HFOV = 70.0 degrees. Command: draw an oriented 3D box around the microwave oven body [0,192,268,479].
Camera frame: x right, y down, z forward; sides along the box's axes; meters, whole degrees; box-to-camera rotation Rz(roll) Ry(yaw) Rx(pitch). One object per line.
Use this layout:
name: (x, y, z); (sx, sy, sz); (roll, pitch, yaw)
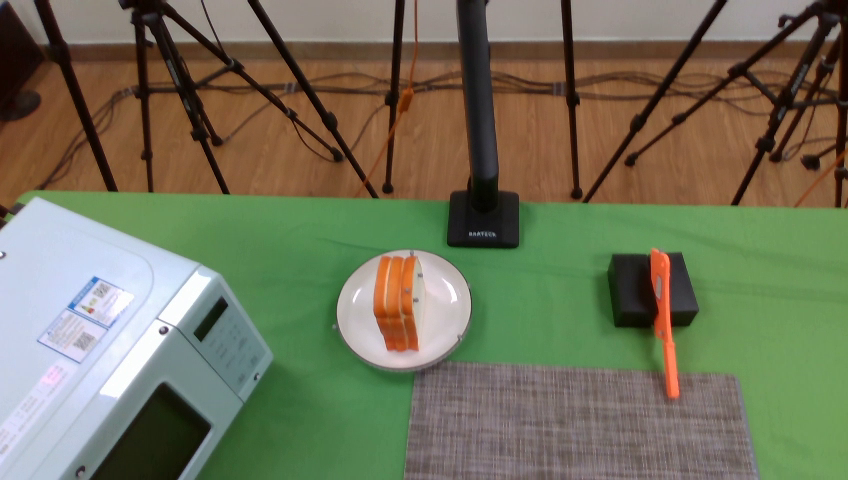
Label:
microwave oven body: (-0.464, 0.213, 0.742); (0.324, 0.262, 0.439); (20, 60, 16)

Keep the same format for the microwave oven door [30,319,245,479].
microwave oven door: (-0.351, 0.288, 0.676); (0.039, 0.246, 0.354); (19, 59, 17)

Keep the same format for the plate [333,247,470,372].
plate: (-0.032, 0.106, 0.922); (0.207, 0.039, 0.205); (-2, 56, 3)

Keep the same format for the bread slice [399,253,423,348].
bread slice: (-0.017, 0.084, 0.869); (0.018, 0.135, 0.106); (-1, 59, 6)

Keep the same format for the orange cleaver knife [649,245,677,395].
orange cleaver knife: (0.336, 0.110, 0.860); (0.012, 0.077, 0.211); (-3, 85, 2)

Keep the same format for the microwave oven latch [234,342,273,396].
microwave oven latch: (-0.247, 0.180, 0.865); (0.030, 0.030, 0.079); (20, 60, 17)
